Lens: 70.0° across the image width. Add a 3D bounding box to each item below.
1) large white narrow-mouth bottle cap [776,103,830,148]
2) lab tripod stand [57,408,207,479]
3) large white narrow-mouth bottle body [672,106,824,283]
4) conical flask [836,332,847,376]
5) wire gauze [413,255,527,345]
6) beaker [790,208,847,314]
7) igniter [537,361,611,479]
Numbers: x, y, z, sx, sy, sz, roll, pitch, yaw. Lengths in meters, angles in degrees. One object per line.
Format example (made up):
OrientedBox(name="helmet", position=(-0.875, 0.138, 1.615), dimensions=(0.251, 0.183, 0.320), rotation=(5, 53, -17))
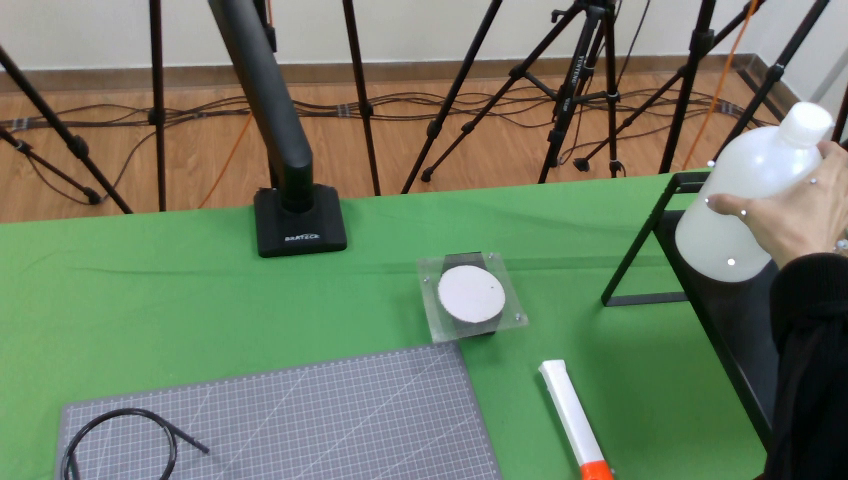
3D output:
OrientedBox(name="large white narrow-mouth bottle cap", position=(0.338, -0.102, 0.542), dimensions=(0.038, 0.024, 0.037), rotation=(3, 51, -4))
OrientedBox(name="lab tripod stand", position=(-0.260, 0.225, 0.551), dimensions=(0.149, 0.132, 0.147), rotation=(6, 50, -7))
OrientedBox(name="large white narrow-mouth bottle body", position=(0.331, -0.048, 0.607), dimensions=(0.102, 0.196, 0.101), rotation=(3, 51, -3))
OrientedBox(name="conical flask", position=(0.456, 0.089, 0.565), dimensions=(0.075, 0.123, 0.074), rotation=(5, 49, -5))
OrientedBox(name="wire gauze", position=(0.055, 0.069, 0.760), dimensions=(0.122, 0.011, 0.123), rotation=(-5, 52, -14))
OrientedBox(name="beaker", position=(0.442, 0.022, 0.634), dimensions=(0.074, 0.101, 0.083), rotation=(0, 50, -10))
OrientedBox(name="igniter", position=(0.187, 0.260, 0.674), dimensions=(0.057, 0.025, 0.273), rotation=(1, 49, -22))
